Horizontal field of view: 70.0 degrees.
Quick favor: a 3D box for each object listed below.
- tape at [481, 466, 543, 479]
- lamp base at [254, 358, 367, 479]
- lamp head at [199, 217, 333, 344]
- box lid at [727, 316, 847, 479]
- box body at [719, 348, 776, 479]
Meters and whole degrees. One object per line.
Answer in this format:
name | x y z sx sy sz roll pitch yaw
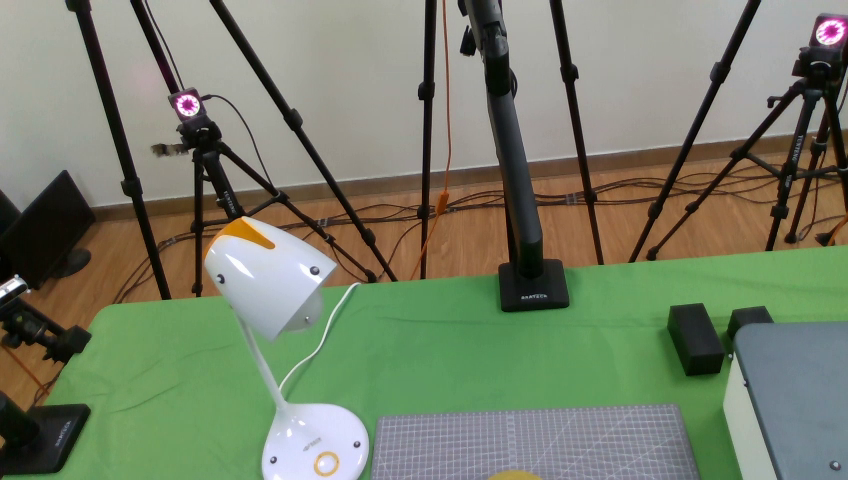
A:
tape | 0.114 0.354 0.777 0.117 0.053 0.115 -5 41 5
lamp base | -0.185 0.255 0.859 0.177 0.182 0.160 24 52 37
lamp head | -0.178 0.036 0.654 0.123 0.113 0.112 36 52 -1
box lid | 0.506 0.222 0.646 0.263 0.015 0.368 -3 42 9
box body | 0.516 0.278 0.694 0.254 0.162 0.360 -3 42 9
